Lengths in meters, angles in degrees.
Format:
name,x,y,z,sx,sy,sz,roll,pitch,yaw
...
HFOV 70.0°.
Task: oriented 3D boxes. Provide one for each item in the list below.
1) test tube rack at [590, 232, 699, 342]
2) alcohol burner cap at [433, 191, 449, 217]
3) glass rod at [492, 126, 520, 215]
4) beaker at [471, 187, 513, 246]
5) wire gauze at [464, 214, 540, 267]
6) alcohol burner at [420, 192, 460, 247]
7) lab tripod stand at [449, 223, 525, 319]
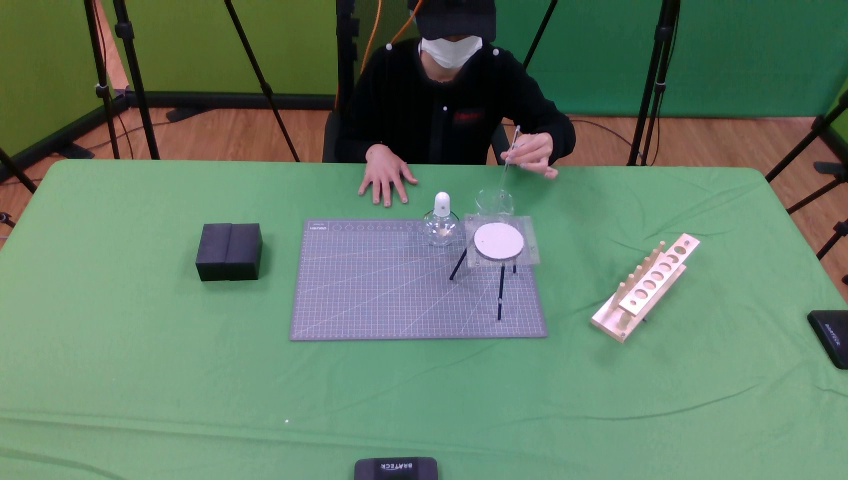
name,x,y,z,sx,sy,sz,roll,pitch,yaw
test tube rack,0.407,0.074,1.112,0.066,0.085,0.242,35,53,26
alcohol burner cap,0.033,-0.070,1.150,0.034,0.048,0.033,0,45,0
glass rod,0.146,-0.120,1.089,0.008,0.200,0.008,6,44,-5
beaker,0.134,-0.042,1.190,0.083,0.101,0.074,34,53,25
wire gauze,0.131,-0.002,1.034,0.121,0.011,0.124,1,45,-2
alcohol burner,0.032,-0.045,1.176,0.078,0.120,0.077,2,44,-1
lab tripod stand,0.120,0.046,1.080,0.148,0.132,0.147,1,47,-1
